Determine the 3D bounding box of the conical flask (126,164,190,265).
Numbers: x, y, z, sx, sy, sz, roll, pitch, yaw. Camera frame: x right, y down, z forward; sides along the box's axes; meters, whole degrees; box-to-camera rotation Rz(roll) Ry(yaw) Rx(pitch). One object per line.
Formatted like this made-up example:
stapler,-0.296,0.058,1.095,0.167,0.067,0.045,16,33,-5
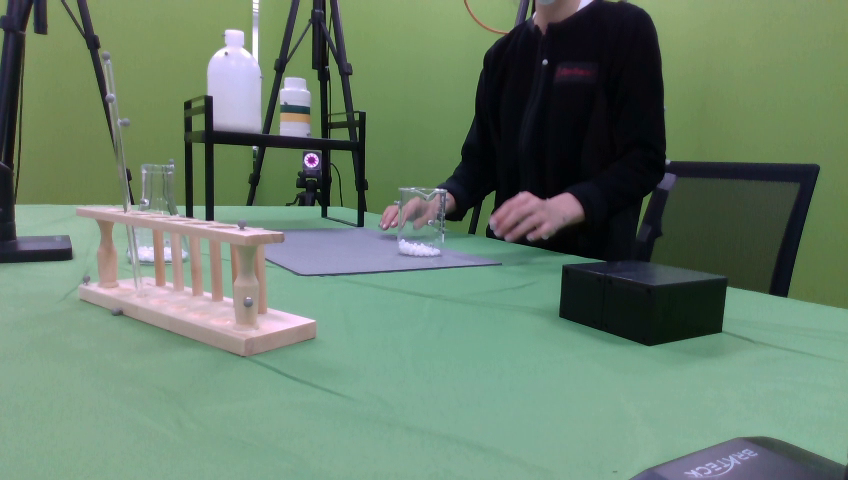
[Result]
conical flask,-0.332,-0.033,0.756,0.075,0.122,0.075,2,7,0

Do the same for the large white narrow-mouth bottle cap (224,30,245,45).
large white narrow-mouth bottle cap,-0.365,-0.389,1.166,0.038,0.024,0.037,2,9,0

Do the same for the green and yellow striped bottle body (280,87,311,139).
green and yellow striped bottle body,-0.269,-0.274,1.266,0.063,0.119,0.063,3,7,0

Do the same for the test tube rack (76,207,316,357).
test tube rack,-0.196,0.023,0.500,0.241,0.085,0.067,8,9,36

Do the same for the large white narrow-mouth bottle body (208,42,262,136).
large white narrow-mouth bottle body,-0.368,-0.304,1.181,0.102,0.194,0.101,2,9,0

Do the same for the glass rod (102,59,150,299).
glass rod,-0.243,-0.045,0.496,0.008,0.199,0.008,-4,12,1

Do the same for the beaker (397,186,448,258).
beaker,-0.002,-0.027,0.890,0.074,0.100,0.084,0,8,-11

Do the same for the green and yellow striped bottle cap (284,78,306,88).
green and yellow striped bottle cap,-0.268,-0.325,1.259,0.045,0.020,0.045,5,7,0
